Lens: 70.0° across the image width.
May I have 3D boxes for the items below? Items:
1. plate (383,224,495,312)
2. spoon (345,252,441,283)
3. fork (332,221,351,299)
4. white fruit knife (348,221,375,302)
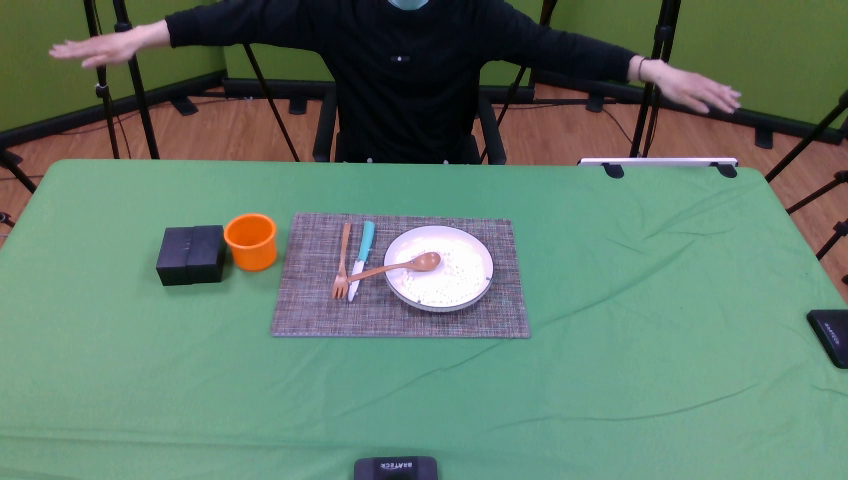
[{"bbox_3d":[0.026,0.055,1.128,0.209,0.038,0.208,2,46,-2],"label":"plate"},{"bbox_3d":[-0.054,0.051,1.106,0.194,0.022,0.041,-10,48,-30],"label":"spoon"},{"bbox_3d":[-0.153,0.034,1.149,0.028,0.019,0.206,-6,47,6],"label":"fork"},{"bbox_3d":[-0.119,0.037,1.153,0.027,0.016,0.206,-15,42,25],"label":"white fruit knife"}]
